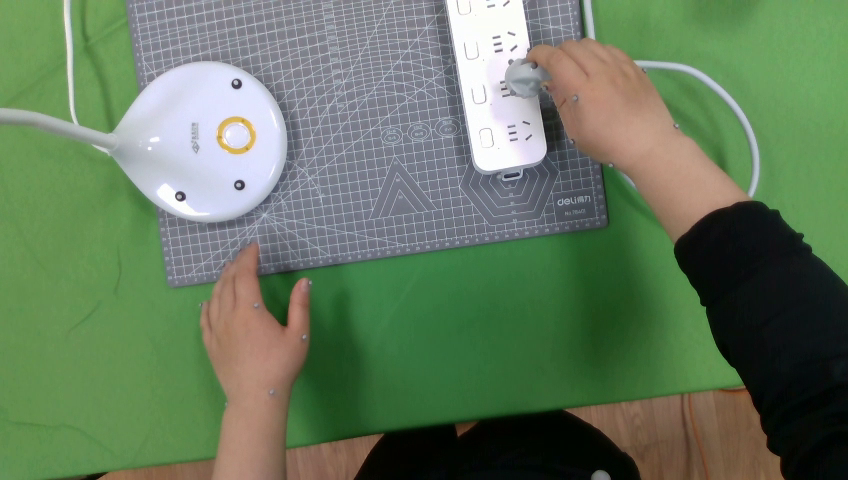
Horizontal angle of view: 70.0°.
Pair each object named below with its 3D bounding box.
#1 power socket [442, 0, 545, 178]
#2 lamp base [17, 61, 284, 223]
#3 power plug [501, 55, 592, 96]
[{"bbox_3d":[0.064,-0.174,0.582,0.072,0.032,0.226,-10,91,3],"label":"power socket"},{"bbox_3d":[-0.236,-0.093,0.528,0.179,0.180,0.160,-14,90,7],"label":"lamp base"},{"bbox_3d":[0.105,-0.142,0.541,0.073,0.052,0.035,13,85,-9],"label":"power plug"}]
